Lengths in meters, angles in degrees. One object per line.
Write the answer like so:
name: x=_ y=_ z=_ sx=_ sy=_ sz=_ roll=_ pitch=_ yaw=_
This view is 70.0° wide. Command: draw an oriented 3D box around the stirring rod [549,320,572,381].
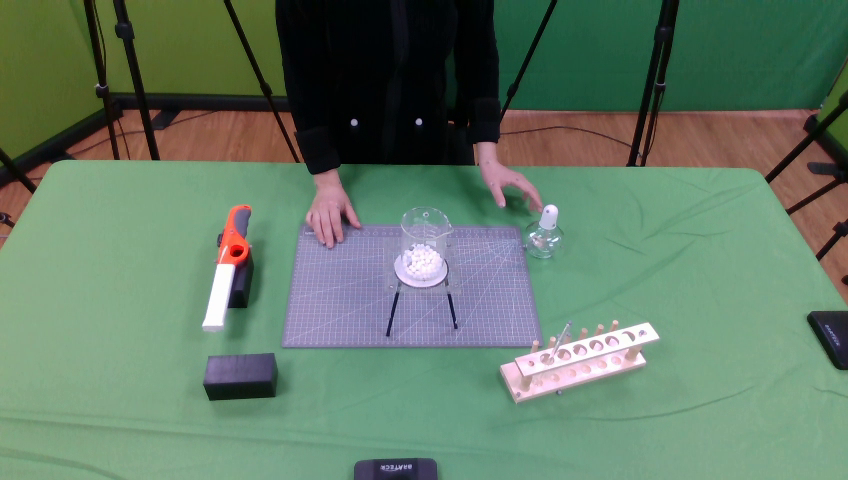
stirring rod: x=0.202 y=0.168 z=0.901 sx=0.006 sy=0.177 sz=0.014 roll=-17 pitch=54 yaw=-11

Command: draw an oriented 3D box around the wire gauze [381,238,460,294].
wire gauze: x=-0.008 y=0.042 z=0.985 sx=0.125 sy=0.011 sz=0.120 roll=-1 pitch=43 yaw=-2

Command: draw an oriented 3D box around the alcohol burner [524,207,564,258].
alcohol burner: x=0.236 y=-0.021 z=1.174 sx=0.078 sy=0.120 sz=0.077 roll=1 pitch=48 yaw=-1

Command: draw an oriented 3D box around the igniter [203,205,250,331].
igniter: x=-0.345 y=0.039 z=1.065 sx=0.057 sy=0.025 sz=0.274 roll=2 pitch=49 yaw=-6

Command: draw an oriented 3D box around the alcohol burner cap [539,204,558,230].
alcohol burner cap: x=0.238 y=-0.046 z=1.148 sx=0.034 sy=0.048 sz=0.033 roll=2 pitch=43 yaw=-1

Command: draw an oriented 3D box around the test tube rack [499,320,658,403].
test tube rack: x=0.252 y=0.187 z=0.994 sx=0.243 sy=0.085 sz=0.066 roll=-12 pitch=48 yaw=-15

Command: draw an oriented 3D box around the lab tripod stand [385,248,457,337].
lab tripod stand: x=-0.010 y=0.087 z=1.032 sx=0.148 sy=0.132 sz=0.147 roll=1 pitch=45 yaw=-1

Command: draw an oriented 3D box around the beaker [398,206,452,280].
beaker: x=0.000 y=0.008 z=0.950 sx=0.084 sy=0.101 sz=0.073 roll=10 pitch=45 yaw=6
